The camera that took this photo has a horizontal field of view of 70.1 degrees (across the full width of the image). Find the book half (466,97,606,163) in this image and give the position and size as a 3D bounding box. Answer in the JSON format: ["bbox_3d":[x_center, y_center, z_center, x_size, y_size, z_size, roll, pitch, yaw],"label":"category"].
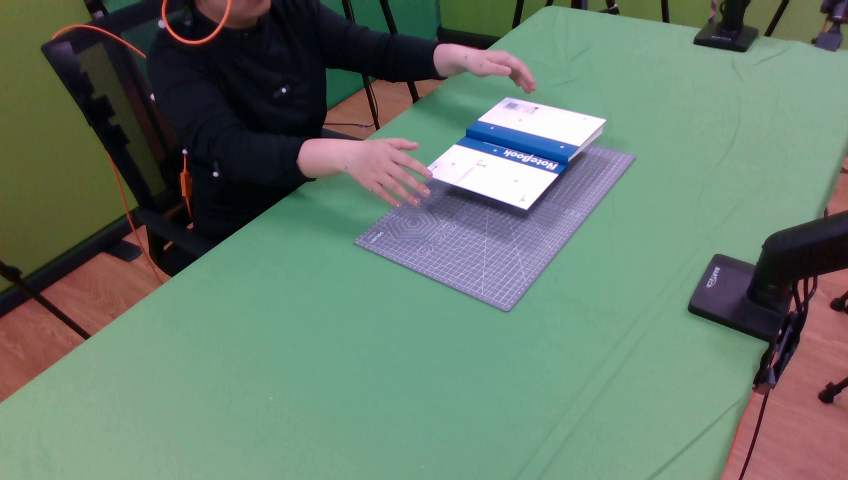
[{"bbox_3d":[0.203,-0.207,1.105,0.208,0.016,0.149,22,47,31],"label":"book half"}]

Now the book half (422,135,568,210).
[{"bbox_3d":[0.119,-0.121,1.027,0.208,0.007,0.143,22,49,30],"label":"book half"}]
